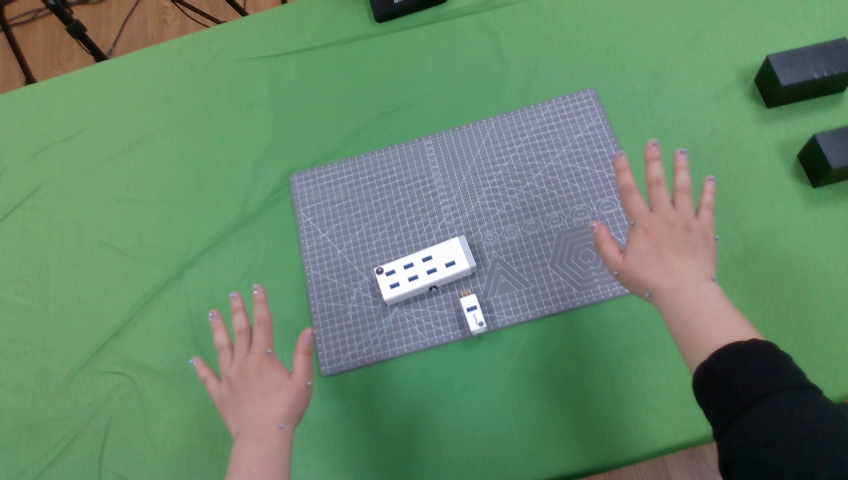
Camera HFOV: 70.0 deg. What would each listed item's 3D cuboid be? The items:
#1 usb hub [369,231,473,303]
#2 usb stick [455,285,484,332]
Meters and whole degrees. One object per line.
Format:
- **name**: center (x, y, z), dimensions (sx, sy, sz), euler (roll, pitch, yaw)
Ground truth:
- **usb hub**: center (-0.004, 0.033, 0.771), dimensions (0.125, 0.025, 0.049), euler (-21, 67, 0)
- **usb stick**: center (0.054, 0.081, 0.743), dimensions (0.021, 0.027, 0.058), euler (-21, 63, 4)
